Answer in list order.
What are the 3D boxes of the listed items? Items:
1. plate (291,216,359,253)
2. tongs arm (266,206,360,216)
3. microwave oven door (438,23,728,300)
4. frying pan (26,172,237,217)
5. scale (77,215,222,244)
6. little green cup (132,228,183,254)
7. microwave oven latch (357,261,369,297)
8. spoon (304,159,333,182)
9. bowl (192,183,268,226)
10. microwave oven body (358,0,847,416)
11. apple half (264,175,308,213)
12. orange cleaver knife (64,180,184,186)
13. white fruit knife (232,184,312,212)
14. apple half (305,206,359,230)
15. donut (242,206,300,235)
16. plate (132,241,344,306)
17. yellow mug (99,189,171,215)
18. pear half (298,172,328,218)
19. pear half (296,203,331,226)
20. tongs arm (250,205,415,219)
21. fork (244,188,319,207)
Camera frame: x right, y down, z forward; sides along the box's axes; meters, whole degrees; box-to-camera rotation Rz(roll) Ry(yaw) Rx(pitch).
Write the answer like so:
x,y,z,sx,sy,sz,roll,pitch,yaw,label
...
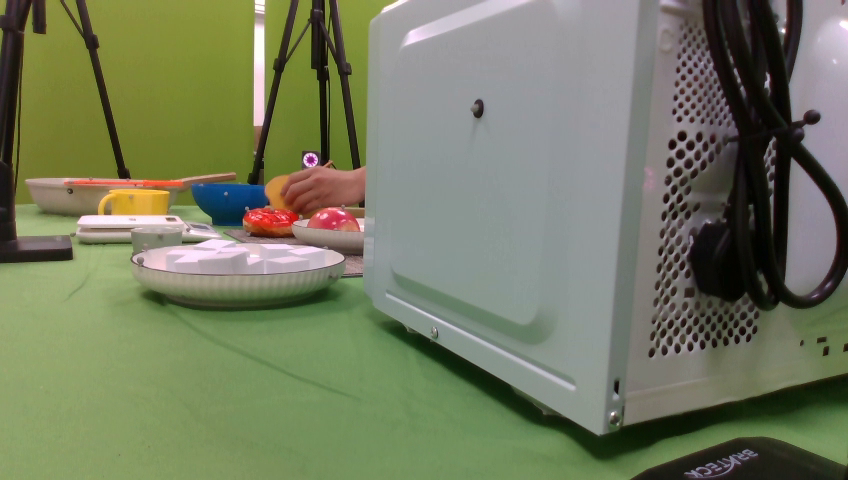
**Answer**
x,y,z,sx,sy,sz,roll,pitch,yaw,label
-0.103,-0.010,0.945,0.209,0.038,0.209,2,8,0,plate
-0.174,-0.061,1.363,0.387,0.026,0.050,-1,2,-32,tongs arm
0.181,-0.072,0.621,0.358,0.243,0.039,-2,8,-29,microwave oven door
-0.624,-0.118,1.387,0.305,0.102,0.490,8,17,32,frying pan
-0.434,-0.019,0.963,0.202,0.031,0.148,-1,9,-27,scale
-0.342,0.006,0.779,0.061,0.038,0.061,2,8,0,little green cup
-0.019,0.033,0.530,0.079,0.029,0.030,-1,7,-27,microwave oven latch
-0.316,-0.159,1.640,0.194,0.022,0.041,-50,32,-20,spoon
-0.382,-0.071,1.202,0.151,0.077,0.151,3,7,0,bowl
0.211,-0.047,0.474,0.444,0.260,0.324,-1,7,-28,microwave oven body
-0.250,-0.081,1.110,0.081,0.081,0.033,2,9,-5,apple half
-0.595,-0.114,1.212,0.212,0.012,0.077,-4,6,-41,orange cleaver knife
-0.364,-0.105,1.464,0.208,0.027,0.016,15,-1,-34,white fruit knife
-0.137,-0.024,0.914,0.081,0.053,0.074,1,9,-37,apple half
-0.262,-0.032,1.039,0.099,0.048,0.099,4,10,0,donut
-0.187,0.033,0.625,0.208,0.039,0.207,2,8,0,plate
-0.519,-0.055,1.080,0.099,0.064,0.131,7,10,26,yellow mug
-0.228,-0.078,1.183,0.076,0.110,0.056,-1,9,1,pear half
-0.229,-0.049,1.259,0.070,0.031,0.088,0,22,-3,pear half
-0.212,-0.067,1.440,0.389,0.027,0.028,0,-2,-17,tongs arm
-0.356,-0.105,1.526,0.208,0.018,0.028,16,-6,-41,fork
